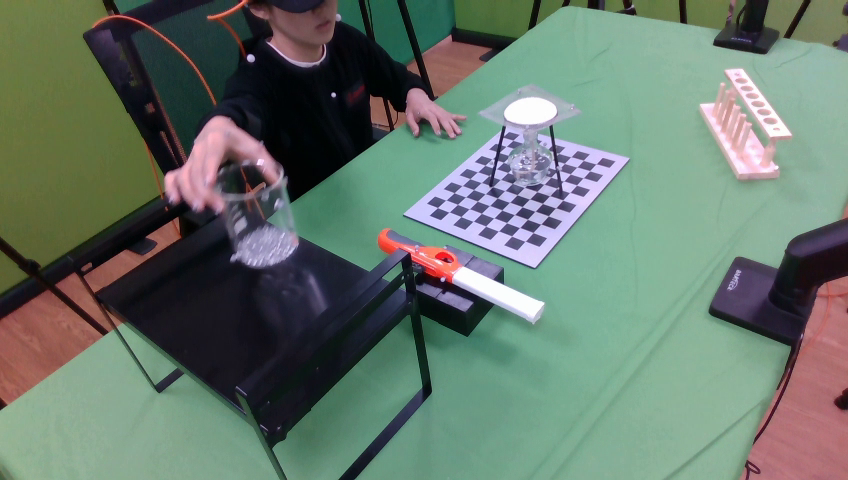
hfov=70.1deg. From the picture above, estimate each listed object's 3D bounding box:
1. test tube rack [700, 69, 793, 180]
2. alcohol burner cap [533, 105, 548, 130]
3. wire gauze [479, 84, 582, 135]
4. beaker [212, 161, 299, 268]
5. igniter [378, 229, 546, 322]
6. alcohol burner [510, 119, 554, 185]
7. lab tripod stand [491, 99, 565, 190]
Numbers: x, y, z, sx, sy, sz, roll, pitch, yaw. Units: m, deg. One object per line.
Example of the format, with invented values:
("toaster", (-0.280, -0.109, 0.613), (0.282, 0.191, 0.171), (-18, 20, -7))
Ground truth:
("test tube rack", (0.572, -0.215, 1.089), (0.066, 0.085, 0.241), (-3, 41, 7))
("alcohol burner cap", (0.235, -0.251, 1.217), (0.034, 0.048, 0.033), (-5, 41, 5))
("wire gauze", (0.176, -0.216, 1.006), (0.125, 0.011, 0.120), (-29, 46, -22))
("beaker", (-0.179, -0.028, 0.664), (0.074, 0.100, 0.084), (6, 39, 13))
("igniter", (0.041, 0.043, 0.843), (0.274, 0.025, 0.057), (24, 47, 29))
("alcohol burner", (0.188, -0.157, 1.054), (0.078, 0.119, 0.077), (-4, 39, 4))
("lab tripod stand", (0.184, -0.163, 1.046), (0.148, 0.132, 0.147), (-5, 43, 5))
